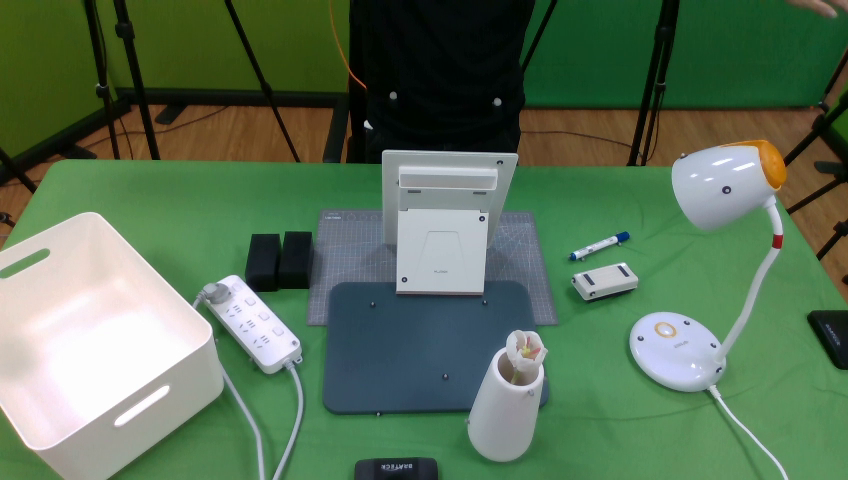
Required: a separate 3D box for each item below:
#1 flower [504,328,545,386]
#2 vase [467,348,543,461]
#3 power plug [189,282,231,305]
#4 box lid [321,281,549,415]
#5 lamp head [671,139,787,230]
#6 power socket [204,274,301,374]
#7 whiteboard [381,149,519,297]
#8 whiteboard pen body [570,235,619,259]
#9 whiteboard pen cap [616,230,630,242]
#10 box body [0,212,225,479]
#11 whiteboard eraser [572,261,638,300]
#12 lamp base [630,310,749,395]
[{"bbox_3d":[0.114,0.189,0.790,0.044,0.363,0.038,34,69,19],"label":"flower"},{"bbox_3d":[0.116,0.235,0.860,0.098,0.201,0.097,1,47,-1],"label":"vase"},{"bbox_3d":[-0.368,0.097,1.038,0.072,0.053,0.035,-27,55,-21],"label":"power plug"},{"bbox_3d":[0.013,0.174,1.040,0.372,0.015,0.261,0,47,-5],"label":"box lid"},{"bbox_3d":[0.415,-0.078,0.812,0.113,0.123,0.112,12,70,-37],"label":"lamp head"},{"bbox_3d":[-0.296,0.140,1.035,0.072,0.033,0.225,-33,57,-29],"label":"power socket"},{"bbox_3d":[0.033,-0.008,1.042,0.217,0.307,0.143,2,61,-2],"label":"whiteboard"},{"bbox_3d":[0.351,0.010,1.215,0.141,0.017,0.017,-20,51,-23],"label":"whiteboard pen body"},{"bbox_3d":[0.403,-0.007,1.235,0.033,0.018,0.018,-19,50,-23],"label":"whiteboard pen cap"},{"bbox_3d":[-0.506,0.155,0.916,0.362,0.161,0.254,35,54,26],"label":"box body"},{"bbox_3d":[0.338,0.079,1.133,0.113,0.042,0.055,-12,46,-15],"label":"whiteboard eraser"},{"bbox_3d":[0.447,0.143,0.984,0.161,0.181,0.178,-24,55,-24],"label":"lamp base"}]
